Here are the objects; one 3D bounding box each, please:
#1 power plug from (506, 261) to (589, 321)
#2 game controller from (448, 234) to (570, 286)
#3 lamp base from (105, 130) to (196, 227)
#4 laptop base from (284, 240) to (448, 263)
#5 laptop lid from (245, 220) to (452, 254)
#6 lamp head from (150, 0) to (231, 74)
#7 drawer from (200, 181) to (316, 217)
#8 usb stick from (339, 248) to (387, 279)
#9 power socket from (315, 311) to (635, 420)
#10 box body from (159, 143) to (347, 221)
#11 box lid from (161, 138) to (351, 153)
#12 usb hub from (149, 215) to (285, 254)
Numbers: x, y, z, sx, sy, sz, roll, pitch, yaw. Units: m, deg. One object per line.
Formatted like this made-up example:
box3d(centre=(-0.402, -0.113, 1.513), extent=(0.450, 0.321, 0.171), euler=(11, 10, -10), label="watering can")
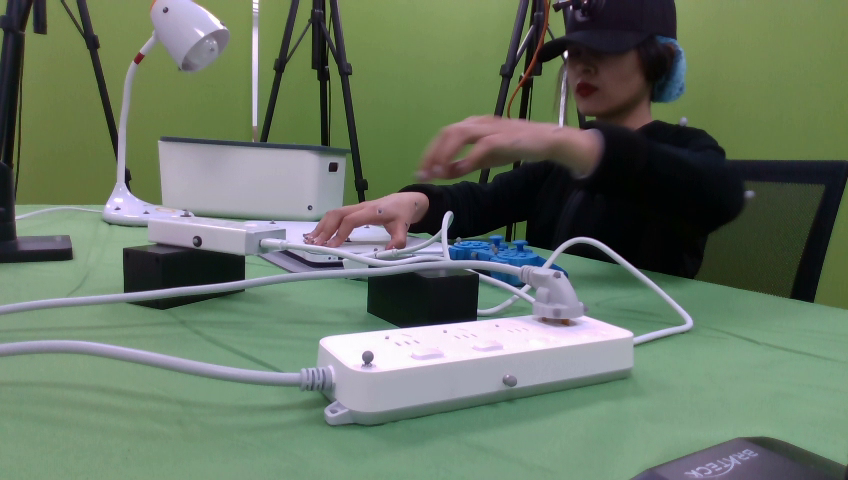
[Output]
box3d(centre=(0.091, 0.043, 0.444), extent=(0.035, 0.052, 0.072), euler=(-1, 5, -18), label="power plug")
box3d(centre=(0.099, 0.021, 0.756), extent=(0.097, 0.051, 0.154), euler=(-6, 10, -29), label="game controller")
box3d(centre=(-0.532, -0.120, 1.153), extent=(0.179, 0.180, 0.161), euler=(1, 7, 8), label="lamp base")
box3d(centre=(-0.125, 0.003, 0.946), extent=(0.237, 0.023, 0.352), euler=(2, 6, -31), label="laptop base")
box3d(centre=(-0.123, -0.009, 0.945), extent=(0.243, 0.013, 0.355), euler=(0, 8, -29), label="laptop lid")
box3d(centre=(-0.432, -0.374, 1.086), extent=(0.123, 0.112, 0.112), euler=(42, 8, -2), label="lamp head")
box3d(centre=(-0.372, -0.097, 1.393), extent=(0.212, 0.073, 0.194), euler=(1, 9, 6), label="drawer")
box3d(centre=(-0.075, 0.028, 0.699), extent=(0.059, 0.027, 0.021), euler=(-16, 9, 27), label="usb stick")
box3d(centre=(0.039, 0.072, 0.385), extent=(0.228, 0.032, 0.072), euler=(-2, 7, -29), label="power socket")
box3d(centre=(-0.384, -0.137, 1.406), extent=(0.364, 0.160, 0.254), euler=(3, 8, 7), label="box body")
box3d(centre=(-0.371, -0.215, 1.394), extent=(0.371, 0.015, 0.263), euler=(4, 8, 7), label="box lid")
box3d(centre=(-0.196, -0.006, 0.574), extent=(0.125, 0.025, 0.050), euler=(7, 8, 23), label="usb hub")
